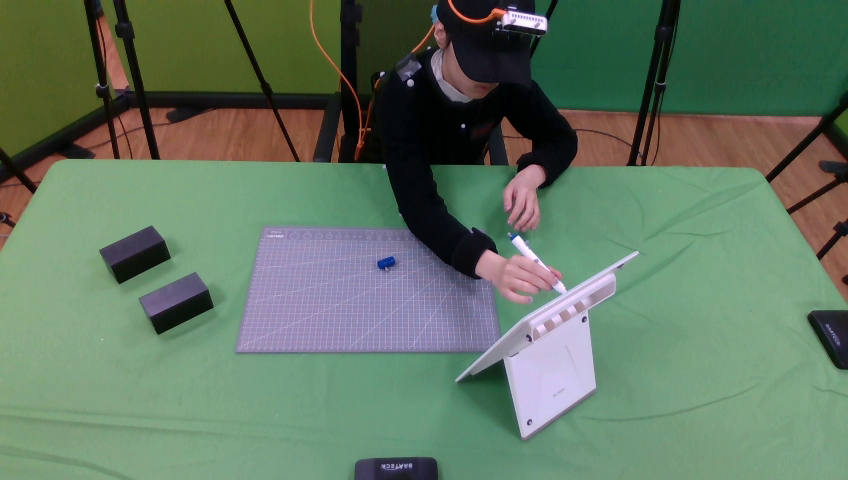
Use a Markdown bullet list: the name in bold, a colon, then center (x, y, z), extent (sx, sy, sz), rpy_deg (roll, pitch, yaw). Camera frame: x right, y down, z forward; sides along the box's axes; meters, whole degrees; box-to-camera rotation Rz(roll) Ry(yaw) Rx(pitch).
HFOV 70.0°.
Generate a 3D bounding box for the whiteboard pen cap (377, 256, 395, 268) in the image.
- **whiteboard pen cap**: center (-0.072, 0.042, 1.149), extent (0.033, 0.018, 0.018), rpy_deg (-19, 50, -16)

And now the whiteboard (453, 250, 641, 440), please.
- **whiteboard**: center (0.206, 0.175, 0.890), extent (0.217, 0.306, 0.143), rpy_deg (-25, 72, -25)

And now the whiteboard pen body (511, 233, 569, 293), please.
- **whiteboard pen body**: center (0.189, 0.043, 0.961), extent (0.017, 0.017, 0.140), rpy_deg (-37, 80, -32)
